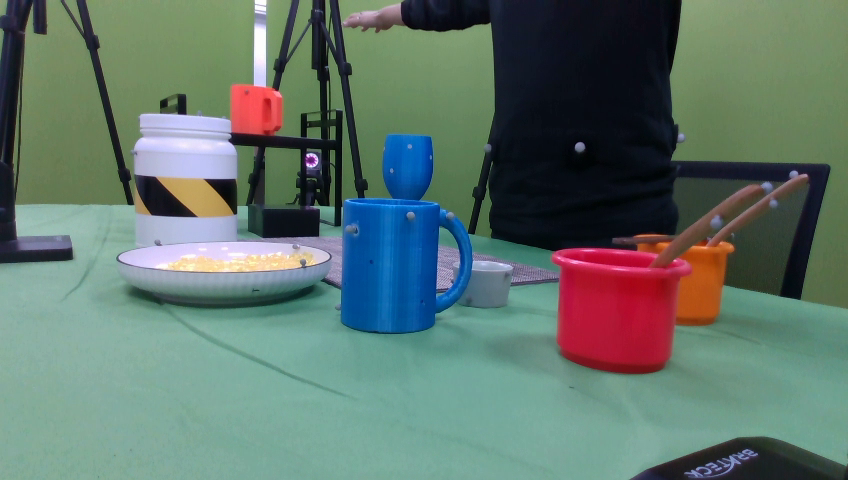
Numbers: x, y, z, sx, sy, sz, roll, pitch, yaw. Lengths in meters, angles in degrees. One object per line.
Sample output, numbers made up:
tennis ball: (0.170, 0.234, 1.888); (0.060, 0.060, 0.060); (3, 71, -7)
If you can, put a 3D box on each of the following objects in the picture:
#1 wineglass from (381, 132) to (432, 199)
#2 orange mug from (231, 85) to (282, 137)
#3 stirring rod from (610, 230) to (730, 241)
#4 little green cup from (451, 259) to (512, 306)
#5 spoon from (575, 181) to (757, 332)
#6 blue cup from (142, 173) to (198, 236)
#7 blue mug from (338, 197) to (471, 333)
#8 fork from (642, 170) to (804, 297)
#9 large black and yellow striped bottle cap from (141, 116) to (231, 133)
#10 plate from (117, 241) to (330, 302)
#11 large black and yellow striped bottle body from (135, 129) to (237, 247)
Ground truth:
wineglass: (-0.026, -0.062, 0.841); (0.074, 0.172, 0.073); (2, 8, 0)
orange mug: (-0.335, -0.261, 1.225); (0.125, 0.100, 0.084); (2, 6, 35)
stirring rod: (0.241, -0.005, 0.582); (0.177, 0.006, 0.014); (-3, 9, -34)
little green cup: (0.057, 0.043, 0.612); (0.061, 0.038, 0.061); (3, 8, 0)
spoon: (0.156, 0.020, 0.412); (0.042, 0.021, 0.193); (1, -36, -16)
blue cup: (-0.425, -0.060, 1.014); (0.093, 0.100, 0.092); (4, 9, 0)
blue mug: (-0.016, 0.018, 0.523); (0.117, 0.106, 0.082); (1, 7, -13)
fork: (0.261, 0.004, 0.545); (0.028, 0.018, 0.207); (6, -38, -15)
large black and yellow striped bottle cap: (-0.324, -0.157, 0.826); (0.115, 0.019, 0.115); (1, 7, 0)
plate: (-0.203, 0.031, 0.630); (0.209, 0.038, 0.209); (3, 7, 0)
large black and yellow striped bottle body: (-0.328, -0.074, 0.838); (0.131, 0.184, 0.130); (2, 7, 0)
